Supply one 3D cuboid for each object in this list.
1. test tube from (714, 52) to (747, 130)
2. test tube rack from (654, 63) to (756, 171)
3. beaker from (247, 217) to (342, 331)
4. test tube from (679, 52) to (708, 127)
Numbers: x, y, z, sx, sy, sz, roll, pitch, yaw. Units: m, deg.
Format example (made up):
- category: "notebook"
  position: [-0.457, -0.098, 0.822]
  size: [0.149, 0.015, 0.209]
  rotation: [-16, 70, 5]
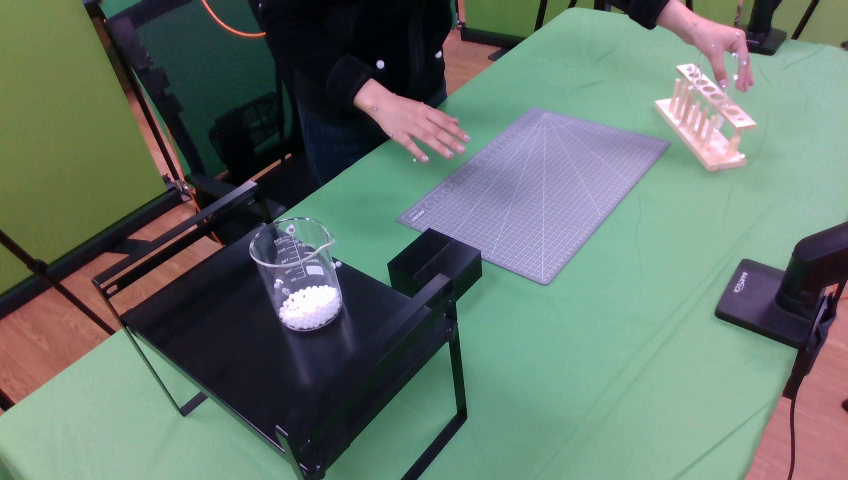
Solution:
- category: "test tube"
  position: [0.527, -0.253, 1.043]
  size: [0.017, 0.151, 0.017]
  rotation: [-3, 46, 3]
- category: "test tube rack"
  position: [0.510, -0.233, 1.120]
  size: [0.067, 0.085, 0.241]
  rotation: [-8, 41, -1]
- category: "beaker"
  position: [-0.124, 0.037, 0.614]
  size: [0.084, 0.101, 0.073]
  rotation: [-7, 41, 0]
- category: "test tube"
  position: [0.489, -0.271, 1.099]
  size: [0.017, 0.151, 0.017]
  rotation: [-2, 45, 3]
